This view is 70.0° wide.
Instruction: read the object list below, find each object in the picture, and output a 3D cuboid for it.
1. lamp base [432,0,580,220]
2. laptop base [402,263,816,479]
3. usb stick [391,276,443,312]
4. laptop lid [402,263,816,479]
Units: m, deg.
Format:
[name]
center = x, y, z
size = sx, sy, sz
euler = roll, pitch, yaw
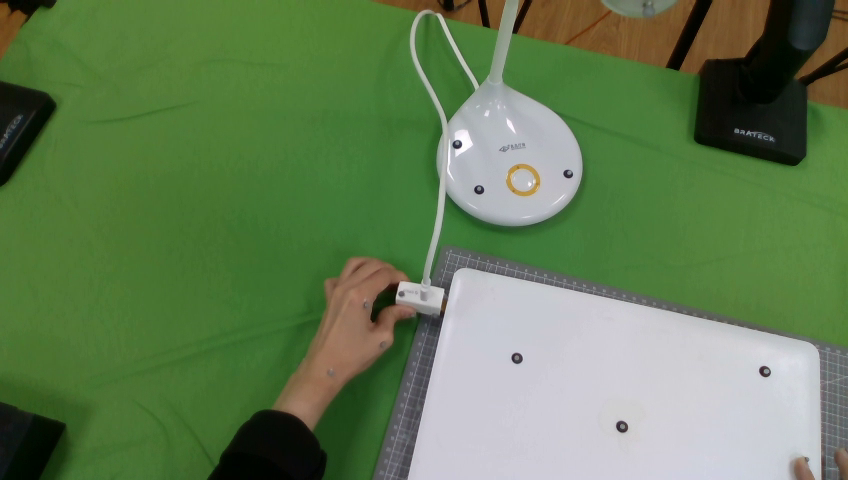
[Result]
[lamp base]
center = 0.085, -0.136, 0.596
size = 0.161, 0.181, 0.177
euler = -22, 65, -11
[laptop base]
center = 0.173, 0.164, 0.551
size = 0.354, 0.023, 0.234
euler = 12, 70, 4
[usb stick]
center = -0.001, 0.053, 0.582
size = 0.059, 0.027, 0.021
euler = 12, 59, -1
[laptop lid]
center = 0.172, 0.162, 0.541
size = 0.356, 0.013, 0.240
euler = 13, 69, 4
